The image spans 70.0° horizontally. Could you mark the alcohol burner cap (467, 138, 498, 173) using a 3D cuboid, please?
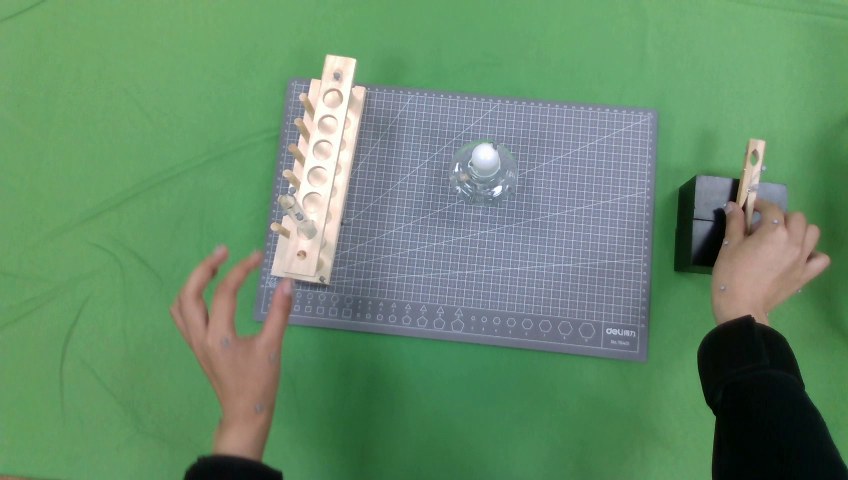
[{"bbox_3d":[0.061,-0.090,0.628,0.034,0.048,0.034,0,85,4],"label":"alcohol burner cap"}]

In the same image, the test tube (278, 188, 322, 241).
[{"bbox_3d":[-0.125,-0.022,0.620,0.017,0.151,0.017,0,75,1],"label":"test tube"}]

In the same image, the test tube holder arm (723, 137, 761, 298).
[{"bbox_3d":[0.340,-0.026,0.647,0.013,0.015,0.178,11,79,17],"label":"test tube holder arm"}]

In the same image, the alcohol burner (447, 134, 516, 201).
[{"bbox_3d":[0.064,-0.083,0.663,0.078,0.119,0.077,0,82,3],"label":"alcohol burner"}]

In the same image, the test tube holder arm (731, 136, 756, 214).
[{"bbox_3d":[0.346,-0.070,0.656,0.010,0.015,0.087,12,80,17],"label":"test tube holder arm"}]

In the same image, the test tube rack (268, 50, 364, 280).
[{"bbox_3d":[-0.126,-0.083,0.681,0.067,0.085,0.241,9,81,3],"label":"test tube rack"}]
